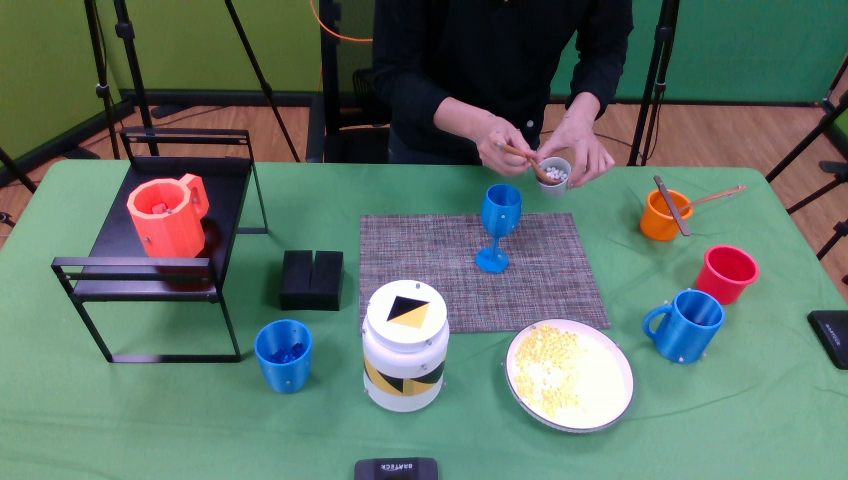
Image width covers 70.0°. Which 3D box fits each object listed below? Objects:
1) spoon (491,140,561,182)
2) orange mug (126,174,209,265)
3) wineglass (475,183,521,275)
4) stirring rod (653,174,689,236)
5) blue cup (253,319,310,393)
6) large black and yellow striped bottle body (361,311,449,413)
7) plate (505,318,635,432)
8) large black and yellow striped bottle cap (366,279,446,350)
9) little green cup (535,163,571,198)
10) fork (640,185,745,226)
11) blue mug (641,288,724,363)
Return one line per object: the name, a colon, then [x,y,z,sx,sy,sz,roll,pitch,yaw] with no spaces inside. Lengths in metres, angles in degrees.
spoon: [0.166,-0.129,0.980,0.195,0.021,0.041,22,20,-47]
orange mug: [-0.371,-0.039,0.902,0.083,0.101,0.126,18,51,14]
wineglass: [0.134,-0.020,1.115,0.074,0.173,0.073,2,46,-2]
stirring rod: [0.491,-0.072,1.211,0.014,0.006,0.175,0,47,-6]
blue cup: [-0.217,0.187,0.943,0.093,0.101,0.092,4,45,-3]
large black and yellow striped bottle body: [-0.031,0.163,0.924,0.131,0.185,0.130,2,46,-2]
plate: [0.235,0.221,0.991,0.209,0.038,0.208,2,45,-2]
large black and yellow striped bottle cap: [-0.025,0.104,0.864,0.115,0.019,0.114,3,48,-3]
little green cup: [0.225,-0.103,1.054,0.061,0.039,0.061,-5,38,4]
fork: [0.534,-0.069,1.215,0.207,0.019,0.028,-26,27,33]
blue mug: [0.432,0.144,1.033,0.116,0.106,0.082,8,46,4]
